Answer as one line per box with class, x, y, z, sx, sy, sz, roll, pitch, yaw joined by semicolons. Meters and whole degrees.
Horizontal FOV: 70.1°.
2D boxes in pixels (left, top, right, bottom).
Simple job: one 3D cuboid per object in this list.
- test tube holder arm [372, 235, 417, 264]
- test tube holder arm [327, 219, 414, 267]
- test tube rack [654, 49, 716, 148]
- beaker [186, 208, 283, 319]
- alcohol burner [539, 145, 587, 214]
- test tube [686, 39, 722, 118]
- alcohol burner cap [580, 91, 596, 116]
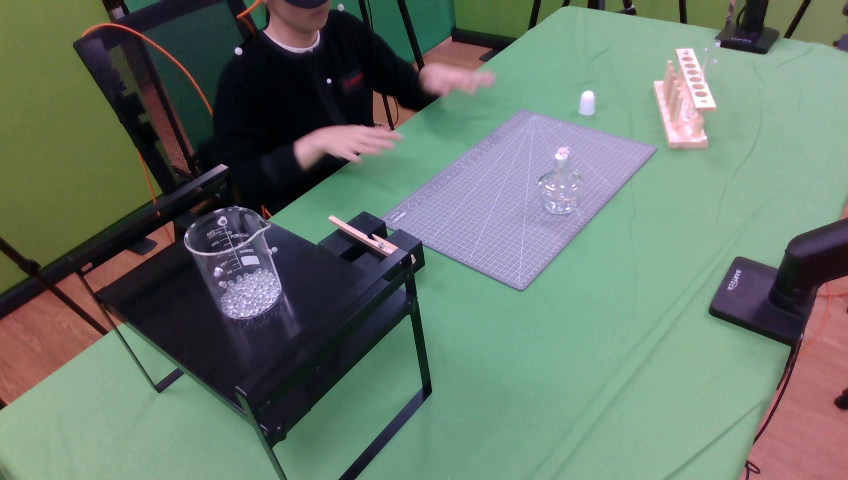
test tube holder arm;-0.047;0.014;0.895;0.087;0.015;0.010;25;51;33
test tube holder arm;-0.085;0.002;0.916;0.177;0.015;0.013;23;50;32
test tube rack;0.502;-0.281;1.176;0.066;0.085;0.241;1;41;11
beaker;-0.192;0.026;0.637;0.084;0.101;0.073;-13;41;-7
alcohol burner;0.226;-0.102;0.986;0.078;0.119;0.077;-6;41;6
test tube;0.511;-0.292;1.107;0.017;0.150;0.017;3;39;-2
alcohol burner cap;0.338;-0.283;1.238;0.034;0.048;0.033;-4;42;4
